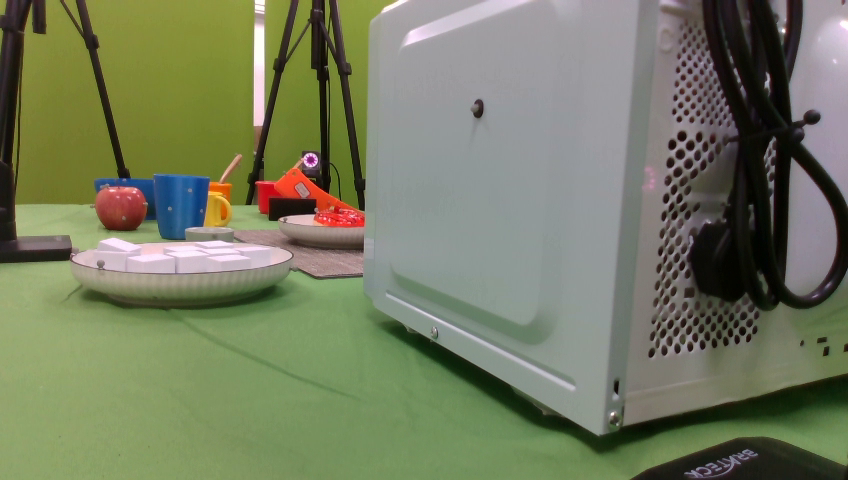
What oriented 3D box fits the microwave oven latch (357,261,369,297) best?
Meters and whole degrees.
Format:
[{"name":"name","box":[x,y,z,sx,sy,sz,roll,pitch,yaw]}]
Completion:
[{"name":"microwave oven latch","box":[-0.019,0.033,0.530,0.079,0.029,0.030,-1,7,-26]}]

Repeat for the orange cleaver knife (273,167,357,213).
[{"name":"orange cleaver knife","box":[-0.238,-0.091,1.381,0.212,0.077,0.012,31,0,-19]}]

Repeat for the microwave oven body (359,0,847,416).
[{"name":"microwave oven body","box":[0.211,-0.047,0.474,0.444,0.260,0.324,-1,7,-28]}]

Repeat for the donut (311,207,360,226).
[{"name":"donut","box":[-0.137,-0.029,0.995,0.099,0.048,0.099,4,9,0]}]

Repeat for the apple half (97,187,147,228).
[{"name":"apple half","box":[-0.534,-0.059,1.071,0.082,0.081,0.032,-1,11,-25]}]

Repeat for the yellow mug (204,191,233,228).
[{"name":"yellow mug","box":[-0.415,-0.057,1.131,0.130,0.064,0.100,6,8,16]}]

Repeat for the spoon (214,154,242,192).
[{"name":"spoon","box":[-0.439,-0.124,1.318,0.041,0.193,0.022,5,-36,17]}]

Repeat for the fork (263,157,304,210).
[{"name":"fork","box":[-0.345,-0.143,1.505,0.028,0.019,0.207,-4,46,29]}]

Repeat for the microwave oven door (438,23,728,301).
[{"name":"microwave oven door","box":[0.181,-0.072,0.621,0.358,0.243,0.039,-2,8,-29]}]

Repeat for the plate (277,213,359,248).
[{"name":"plate","box":[-0.135,-0.017,0.992,0.209,0.038,0.209,3,8,0]}]

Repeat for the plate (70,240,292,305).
[{"name":"plate","box":[-0.242,0.031,0.618,0.208,0.039,0.207,2,8,0]}]

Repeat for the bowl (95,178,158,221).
[{"name":"bowl","box":[-0.576,-0.081,1.217,0.151,0.077,0.151,3,8,0]}]

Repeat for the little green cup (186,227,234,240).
[{"name":"little green cup","box":[-0.285,0.005,0.805,0.061,0.038,0.061,2,8,0]}]

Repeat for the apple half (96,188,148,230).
[{"name":"apple half","box":[-0.517,-0.052,1.036,0.081,0.074,0.053,3,10,-26]}]

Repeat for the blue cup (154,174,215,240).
[{"name":"blue cup","box":[-0.391,-0.053,0.978,0.093,0.100,0.092,4,6,0]}]
